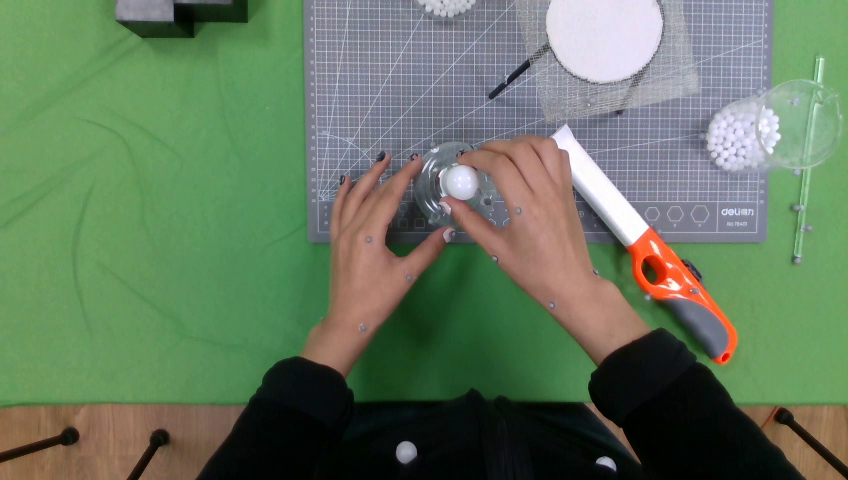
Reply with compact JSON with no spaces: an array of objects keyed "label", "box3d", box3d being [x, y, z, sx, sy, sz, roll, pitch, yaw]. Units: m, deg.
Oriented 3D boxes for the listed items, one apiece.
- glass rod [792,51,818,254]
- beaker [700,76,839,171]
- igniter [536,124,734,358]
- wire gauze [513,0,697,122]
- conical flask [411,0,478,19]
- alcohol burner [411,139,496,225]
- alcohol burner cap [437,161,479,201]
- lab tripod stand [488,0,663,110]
[{"label":"glass rod","box3d":[0.375,-0.085,0.596,0.008,0.008,0.200,3,93,-2]},{"label":"beaker","box3d":[0.305,-0.101,0.544,0.084,0.100,0.074,-37,94,0]},{"label":"igniter","box3d":[0.208,0.004,0.585,0.057,0.025,0.277,-43,95,-16]},{"label":"wire gauze","box3d":[0.133,-0.158,0.450,0.125,0.011,0.121,-13,94,-1]},{"label":"conical flask","box3d":[0.020,-0.242,0.513,0.075,0.121,0.075,0,93,-1]},{"label":"alcohol burner","box3d":[0.027,-0.052,0.530,0.078,0.119,0.078,0,92,0]},{"label":"alcohol burner cap","box3d":[0.029,-0.049,0.485,0.034,0.048,0.034,0,94,-5]},{"label":"lab tripod stand","box3d":[0.130,-0.164,0.517,0.148,0.131,0.148,0,95,-1]}]
